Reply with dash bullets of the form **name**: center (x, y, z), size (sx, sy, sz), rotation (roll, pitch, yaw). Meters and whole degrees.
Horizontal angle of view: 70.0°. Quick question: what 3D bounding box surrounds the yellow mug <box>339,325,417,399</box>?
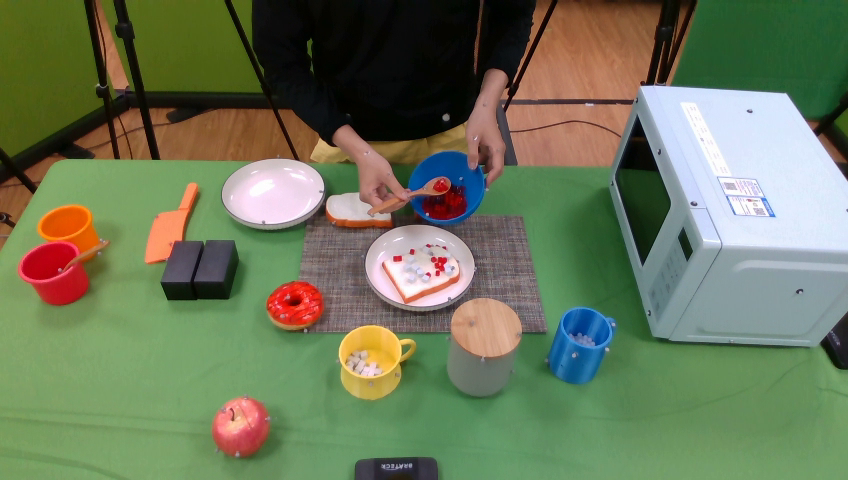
- **yellow mug**: center (-0.072, 0.190, 0.978), size (0.131, 0.064, 0.099), rotation (-17, 50, -20)

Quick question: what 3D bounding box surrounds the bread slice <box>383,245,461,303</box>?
- **bread slice**: center (0.001, 0.055, 1.129), size (0.131, 0.019, 0.104), rotation (-22, 52, -19)

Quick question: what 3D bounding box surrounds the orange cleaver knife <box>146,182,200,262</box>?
- **orange cleaver knife**: center (-0.494, -0.039, 1.198), size (0.077, 0.012, 0.210), rotation (-3, 48, 2)

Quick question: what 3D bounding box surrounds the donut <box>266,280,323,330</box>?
- **donut**: center (-0.223, 0.112, 1.051), size (0.099, 0.048, 0.098), rotation (2, 46, -2)

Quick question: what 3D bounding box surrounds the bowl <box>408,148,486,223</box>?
- **bowl**: center (0.051, -0.092, 1.167), size (0.151, 0.077, 0.150), rotation (-5, 68, 14)

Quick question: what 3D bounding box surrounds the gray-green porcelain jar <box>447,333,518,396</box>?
- **gray-green porcelain jar**: center (0.091, 0.178, 0.960), size (0.106, 0.127, 0.105), rotation (2, 46, -2)

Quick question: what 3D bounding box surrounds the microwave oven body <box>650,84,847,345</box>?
- **microwave oven body**: center (0.569, -0.054, 1.116), size (0.326, 0.261, 0.439), rotation (2, 46, -1)

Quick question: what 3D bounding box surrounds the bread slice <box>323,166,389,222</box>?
- **bread slice**: center (-0.140, -0.092, 1.224), size (0.134, 0.018, 0.106), rotation (-19, 51, 6)

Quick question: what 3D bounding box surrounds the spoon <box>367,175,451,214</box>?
- **spoon**: center (-0.026, -0.083, 1.112), size (0.194, 0.022, 0.041), rotation (-22, 60, -36)

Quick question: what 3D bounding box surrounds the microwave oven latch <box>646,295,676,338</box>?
- **microwave oven latch**: center (0.413, 0.133, 1.060), size (0.030, 0.029, 0.078), rotation (4, 46, 1)

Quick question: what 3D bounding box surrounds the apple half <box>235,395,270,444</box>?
- **apple half**: center (-0.245, 0.260, 0.893), size (0.033, 0.082, 0.081), rotation (-29, 55, -22)

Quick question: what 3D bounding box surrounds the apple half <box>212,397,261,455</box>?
- **apple half**: center (-0.276, 0.276, 0.877), size (0.053, 0.075, 0.080), rotation (-29, 58, -21)

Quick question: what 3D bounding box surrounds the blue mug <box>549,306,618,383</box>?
- **blue mug**: center (0.269, 0.167, 0.997), size (0.116, 0.106, 0.082), rotation (-19, 50, -21)

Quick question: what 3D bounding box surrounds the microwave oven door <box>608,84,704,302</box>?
- **microwave oven door**: center (0.424, -0.096, 1.138), size (0.039, 0.245, 0.353), rotation (2, 46, -1)

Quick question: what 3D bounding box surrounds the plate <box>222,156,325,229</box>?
- **plate**: center (-0.308, -0.095, 1.251), size (0.209, 0.038, 0.208), rotation (3, 46, -3)

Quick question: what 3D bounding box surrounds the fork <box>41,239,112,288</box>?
- **fork**: center (-0.591, 0.040, 1.028), size (0.207, 0.019, 0.028), rotation (-27, 37, 29)

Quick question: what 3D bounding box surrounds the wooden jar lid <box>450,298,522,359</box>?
- **wooden jar lid**: center (0.093, 0.135, 0.914), size (0.108, 0.021, 0.107), rotation (2, 48, -3)

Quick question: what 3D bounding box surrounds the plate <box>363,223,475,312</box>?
- **plate**: center (-0.009, 0.054, 1.126), size (0.208, 0.039, 0.206), rotation (2, 46, -2)
